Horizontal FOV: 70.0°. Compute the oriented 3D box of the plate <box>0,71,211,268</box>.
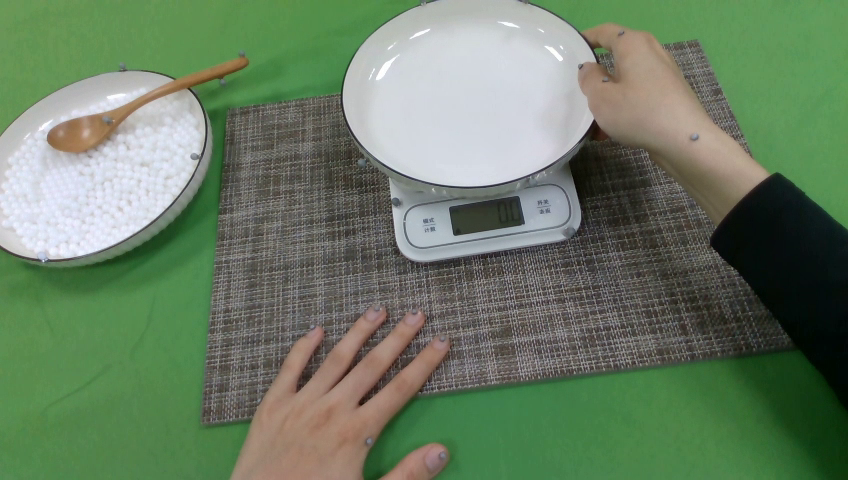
[{"bbox_3d":[-0.289,-0.063,0.541,0.209,0.038,0.207,-2,61,4],"label":"plate"}]

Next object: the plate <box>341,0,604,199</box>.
[{"bbox_3d":[0.038,-0.116,0.495,0.207,0.039,0.206,-2,60,4],"label":"plate"}]

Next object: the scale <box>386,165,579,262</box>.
[{"bbox_3d":[0.040,-0.081,0.514,0.148,0.032,0.199,-9,61,2],"label":"scale"}]

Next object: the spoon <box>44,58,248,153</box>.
[{"bbox_3d":[-0.252,-0.126,0.554,0.194,0.022,0.041,-25,60,1],"label":"spoon"}]
